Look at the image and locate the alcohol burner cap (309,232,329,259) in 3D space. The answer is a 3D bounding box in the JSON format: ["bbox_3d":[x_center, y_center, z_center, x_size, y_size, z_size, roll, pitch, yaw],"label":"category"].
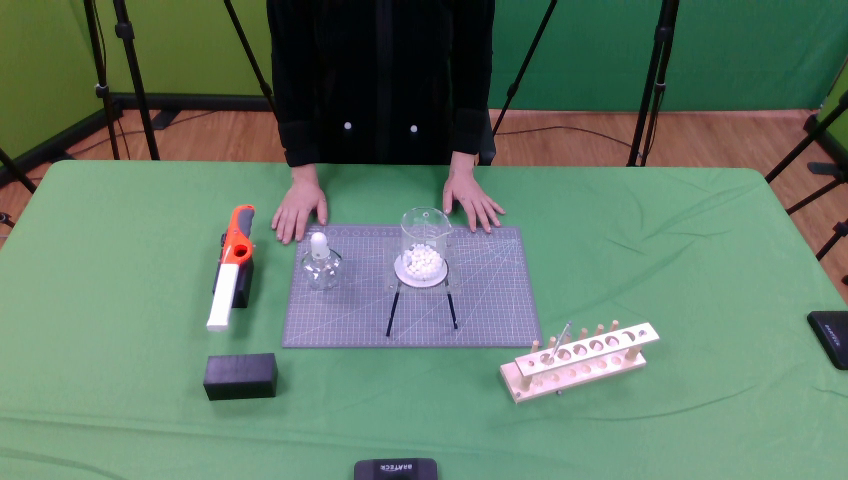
[{"bbox_3d":[-0.185,0.008,1.058,0.034,0.048,0.033,0,43,1],"label":"alcohol burner cap"}]

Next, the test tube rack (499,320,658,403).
[{"bbox_3d":[0.252,0.187,0.994,0.243,0.085,0.066,-12,48,-15],"label":"test tube rack"}]

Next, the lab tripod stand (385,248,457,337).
[{"bbox_3d":[-0.010,0.087,1.032,0.148,0.132,0.147,1,45,-1],"label":"lab tripod stand"}]

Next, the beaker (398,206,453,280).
[{"bbox_3d":[0.000,0.008,0.950,0.084,0.101,0.073,10,45,6],"label":"beaker"}]

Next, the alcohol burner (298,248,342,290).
[{"bbox_3d":[-0.187,0.032,1.084,0.078,0.120,0.077,1,46,-1],"label":"alcohol burner"}]

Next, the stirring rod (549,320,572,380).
[{"bbox_3d":[0.201,0.167,0.901,0.006,0.177,0.014,-16,55,-10],"label":"stirring rod"}]

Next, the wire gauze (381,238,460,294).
[{"bbox_3d":[-0.008,0.042,0.985,0.125,0.011,0.120,-1,43,-2],"label":"wire gauze"}]

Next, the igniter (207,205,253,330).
[{"bbox_3d":[-0.339,0.038,1.066,0.057,0.025,0.274,2,48,-6],"label":"igniter"}]
